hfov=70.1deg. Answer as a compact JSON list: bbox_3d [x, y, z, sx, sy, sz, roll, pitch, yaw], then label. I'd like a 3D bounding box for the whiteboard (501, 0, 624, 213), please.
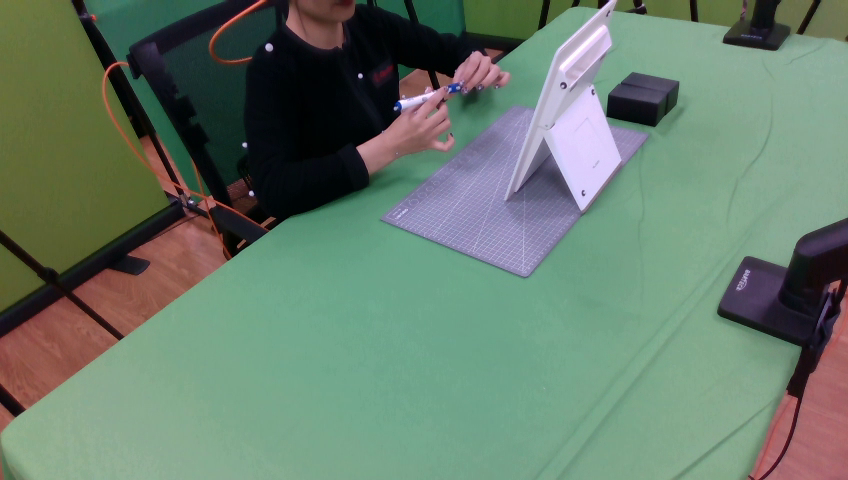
[{"bbox_3d":[0.271,-0.189,0.977,0.143,0.306,0.218,34,53,16],"label":"whiteboard"}]

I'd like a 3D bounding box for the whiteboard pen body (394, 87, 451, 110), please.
[{"bbox_3d":[0.004,-0.258,1.091,0.141,0.017,0.017,-26,42,-33],"label":"whiteboard pen body"}]

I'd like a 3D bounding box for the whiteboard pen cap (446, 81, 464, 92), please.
[{"bbox_3d":[0.057,-0.285,1.128,0.033,0.018,0.018,-23,40,-35],"label":"whiteboard pen cap"}]
